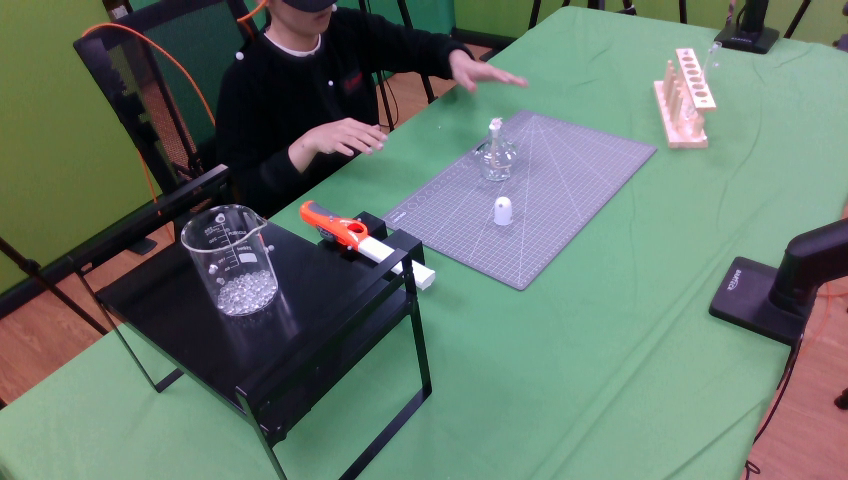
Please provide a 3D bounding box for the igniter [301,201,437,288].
[{"bbox_3d":[-0.094,0.000,0.913,0.274,0.025,0.057,28,49,32],"label":"igniter"}]

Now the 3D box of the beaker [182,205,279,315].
[{"bbox_3d":[-0.197,0.024,0.641,0.084,0.101,0.073,-12,41,-6],"label":"beaker"}]

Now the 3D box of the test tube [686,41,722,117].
[{"bbox_3d":[0.510,-0.290,1.105,0.017,0.150,0.017,2,44,-1],"label":"test tube"}]

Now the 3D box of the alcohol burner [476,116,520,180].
[{"bbox_3d":[0.131,-0.167,1.075,0.078,0.119,0.077,-6,42,6],"label":"alcohol burner"}]

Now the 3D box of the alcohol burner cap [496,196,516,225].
[{"bbox_3d":[0.134,-0.051,0.995,0.034,0.048,0.033,-5,42,5],"label":"alcohol burner cap"}]

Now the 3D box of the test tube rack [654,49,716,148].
[{"bbox_3d":[0.502,-0.281,1.176,0.066,0.085,0.241,1,41,11],"label":"test tube rack"}]
